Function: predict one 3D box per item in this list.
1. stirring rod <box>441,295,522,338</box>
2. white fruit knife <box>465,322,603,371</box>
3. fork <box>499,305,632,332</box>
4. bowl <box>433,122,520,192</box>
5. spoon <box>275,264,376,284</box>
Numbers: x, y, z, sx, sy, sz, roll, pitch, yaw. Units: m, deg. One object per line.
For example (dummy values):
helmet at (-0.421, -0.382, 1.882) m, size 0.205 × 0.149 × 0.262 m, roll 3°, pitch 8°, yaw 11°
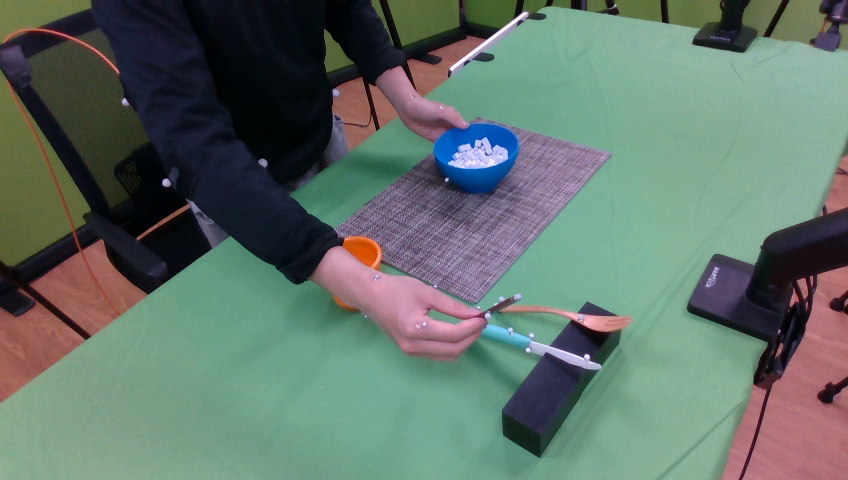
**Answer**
stirring rod at (0.058, 0.086, 0.658) m, size 0.014 × 0.175 × 0.006 m, roll -12°, pitch 75°, yaw -27°
white fruit knife at (0.128, 0.129, 0.750) m, size 0.205 × 0.027 × 0.016 m, roll 10°, pitch 45°, yaw 43°
fork at (0.171, 0.097, 0.783) m, size 0.205 × 0.019 × 0.028 m, roll 4°, pitch 41°, yaw 43°
bowl at (0.094, -0.137, 1.064) m, size 0.151 × 0.077 × 0.150 m, roll -4°, pitch 40°, yaw 4°
spoon at (-0.133, 0.044, 0.840) m, size 0.041 × 0.195 × 0.021 m, roll 25°, pitch 95°, yaw 33°
